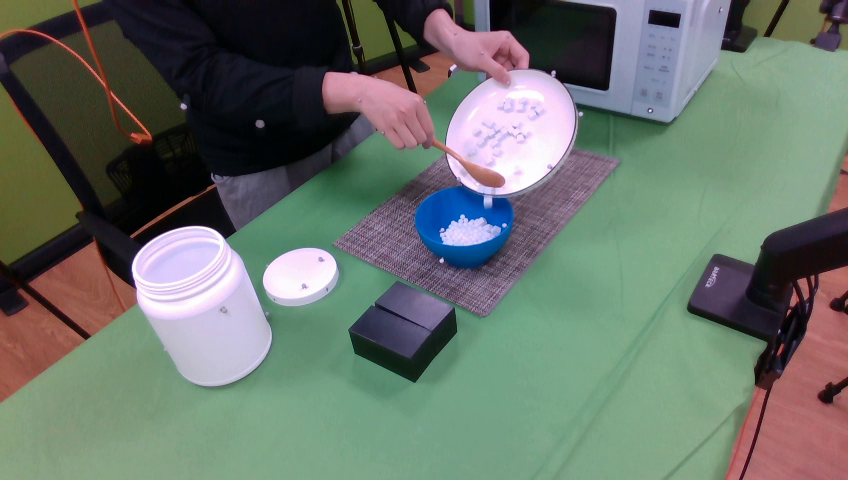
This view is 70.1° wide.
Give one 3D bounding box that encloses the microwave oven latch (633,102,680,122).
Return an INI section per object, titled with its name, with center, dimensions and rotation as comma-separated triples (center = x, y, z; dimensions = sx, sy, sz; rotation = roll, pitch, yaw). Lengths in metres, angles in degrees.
[microwave oven latch]
center = 0.443, -0.249, 1.157
dimensions = 0.078, 0.029, 0.030
rotation = 21, 49, 30

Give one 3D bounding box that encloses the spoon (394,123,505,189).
[spoon]
center = 0.036, -0.127, 0.901
dimensions = 0.193, 0.021, 0.042
rotation = 35, 30, 11

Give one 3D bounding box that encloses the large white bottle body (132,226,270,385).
[large white bottle body]
center = -0.286, 0.085, 0.784
dimensions = 0.130, 0.185, 0.130
rotation = -4, 41, 4

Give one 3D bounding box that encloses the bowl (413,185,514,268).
[bowl]
center = 0.063, -0.010, 0.922
dimensions = 0.151, 0.077, 0.150
rotation = -4, 40, 4

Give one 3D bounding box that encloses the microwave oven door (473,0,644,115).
[microwave oven door]
center = 0.257, -0.396, 1.199
dimensions = 0.353, 0.245, 0.039
rotation = 21, 48, 29

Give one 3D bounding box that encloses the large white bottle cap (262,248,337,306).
[large white bottle cap]
center = -0.193, 0.056, 0.934
dimensions = 0.115, 0.018, 0.114
rotation = -4, 41, 4

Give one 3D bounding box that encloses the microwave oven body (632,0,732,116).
[microwave oven body]
center = 0.377, -0.463, 1.267
dimensions = 0.438, 0.261, 0.327
rotation = 21, 48, 30

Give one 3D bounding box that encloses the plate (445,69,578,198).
[plate]
center = 0.131, -0.157, 0.914
dimensions = 0.208, 0.038, 0.208
rotation = -9, 70, 26
